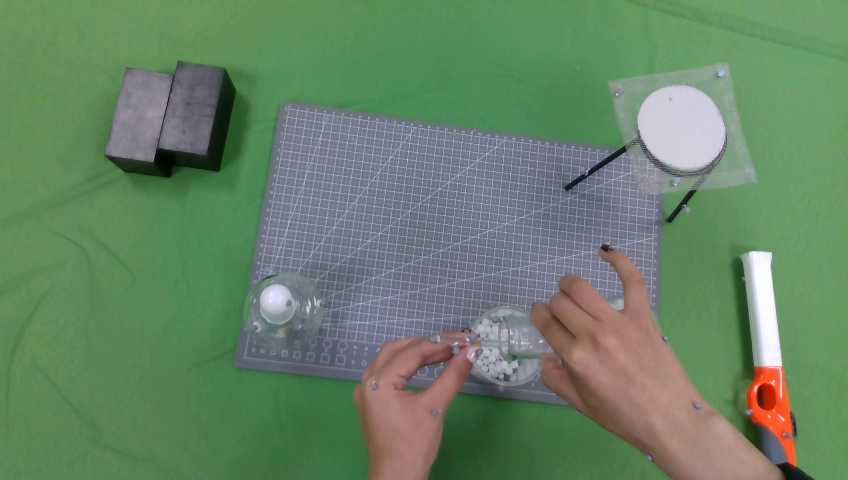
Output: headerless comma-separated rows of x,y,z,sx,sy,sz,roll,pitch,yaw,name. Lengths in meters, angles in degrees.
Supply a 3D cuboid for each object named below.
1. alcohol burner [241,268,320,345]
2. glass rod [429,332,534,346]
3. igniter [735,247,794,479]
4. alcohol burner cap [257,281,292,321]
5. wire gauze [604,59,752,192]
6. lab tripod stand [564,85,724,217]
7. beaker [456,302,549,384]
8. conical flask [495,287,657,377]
-0.141,0.062,0.589,0.078,0.119,0.077,2,77,-6,alcohol burner
0.056,0.085,0.514,0.008,0.201,0.008,-6,77,30,glass rod
0.372,0.144,0.664,0.057,0.025,0.275,3,78,-15,igniter
-0.137,0.053,0.554,0.034,0.048,0.033,4,71,-11,alcohol burner cap
0.245,-0.109,0.581,0.125,0.011,0.121,-9,81,-7,wire gauze
0.237,-0.092,0.646,0.148,0.132,0.148,1,79,-5,lab tripod stand
0.074,0.103,0.607,0.084,0.100,0.073,-11,79,-7,beaker
0.122,0.077,0.503,0.122,0.075,0.075,0,78,-9,conical flask
